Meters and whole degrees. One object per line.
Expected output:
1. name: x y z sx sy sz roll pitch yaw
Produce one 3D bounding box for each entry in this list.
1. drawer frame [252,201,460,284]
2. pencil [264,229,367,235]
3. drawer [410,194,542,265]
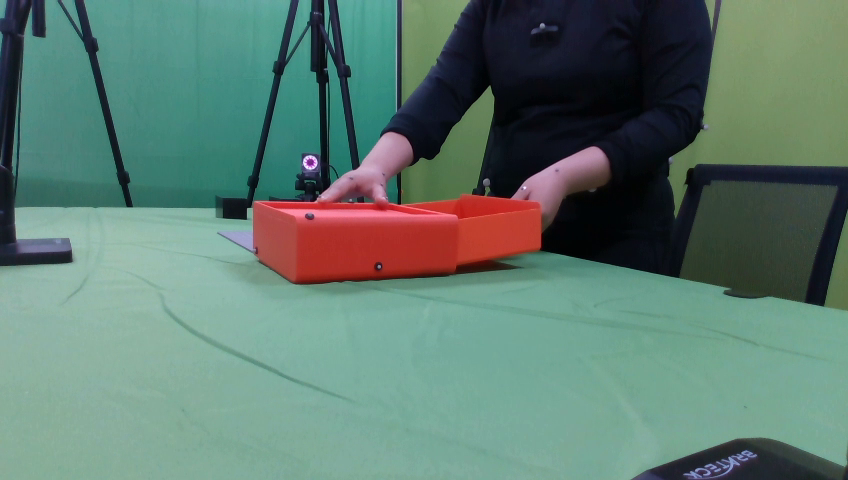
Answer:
1. drawer frame: -0.094 -0.005 0.788 0.215 0.082 0.200 -2 10 -30
2. pencil: -0.195 -0.013 1.109 0.195 0.012 0.012 1 7 -28
3. drawer: 0.026 -0.016 0.862 0.213 0.073 0.193 -9 13 -32
